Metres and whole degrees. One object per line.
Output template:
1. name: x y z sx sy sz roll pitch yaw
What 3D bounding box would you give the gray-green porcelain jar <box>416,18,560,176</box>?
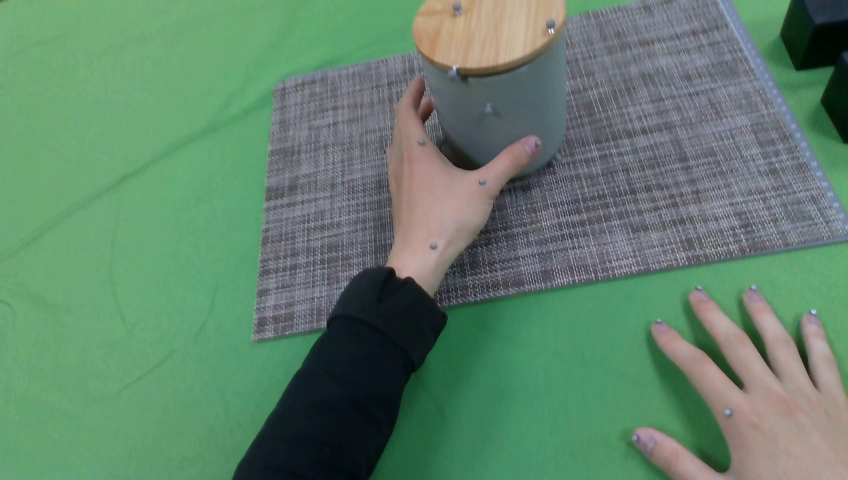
1. gray-green porcelain jar: 0.055 -0.122 0.484 0.106 0.128 0.105 -6 57 10

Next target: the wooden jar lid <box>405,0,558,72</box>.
1. wooden jar lid: 0.041 -0.154 0.431 0.108 0.021 0.107 -6 56 9
